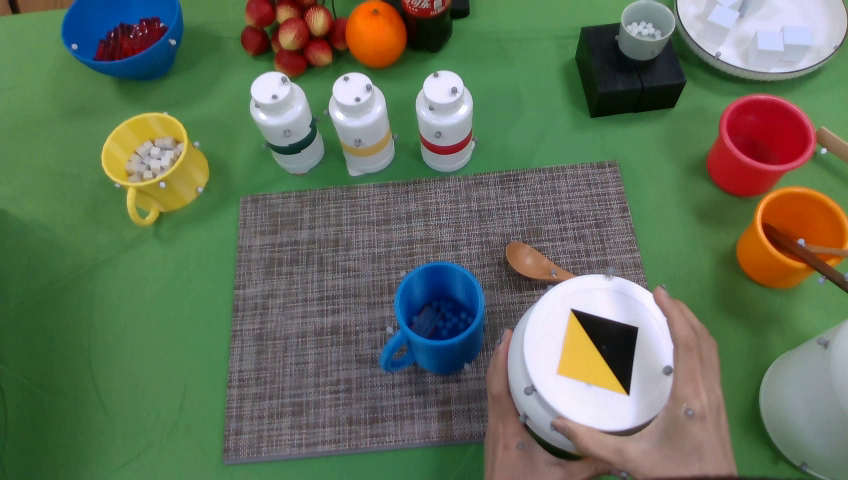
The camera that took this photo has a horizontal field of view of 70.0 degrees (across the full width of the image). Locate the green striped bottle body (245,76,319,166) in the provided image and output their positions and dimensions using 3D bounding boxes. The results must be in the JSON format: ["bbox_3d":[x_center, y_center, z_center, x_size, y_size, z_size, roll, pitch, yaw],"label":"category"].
[{"bbox_3d":[-0.163,-0.141,0.694,0.063,0.120,0.062,-1,66,3],"label":"green striped bottle body"}]

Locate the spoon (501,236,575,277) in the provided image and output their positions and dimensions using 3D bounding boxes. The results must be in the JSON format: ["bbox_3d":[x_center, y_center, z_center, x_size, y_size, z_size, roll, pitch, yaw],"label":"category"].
[{"bbox_3d":[0.170,0.045,0.641,0.193,0.022,0.041,24,47,12],"label":"spoon"}]

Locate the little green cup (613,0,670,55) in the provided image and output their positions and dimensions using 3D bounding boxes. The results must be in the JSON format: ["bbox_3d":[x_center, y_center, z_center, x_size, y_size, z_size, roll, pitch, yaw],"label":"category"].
[{"bbox_3d":[0.251,-0.249,0.707,0.061,0.039,0.061,-1,64,2],"label":"little green cup"}]

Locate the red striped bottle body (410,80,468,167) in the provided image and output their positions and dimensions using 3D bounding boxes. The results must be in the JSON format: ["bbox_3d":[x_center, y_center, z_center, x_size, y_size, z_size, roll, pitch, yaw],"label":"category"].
[{"bbox_3d":[0.018,-0.139,0.683,0.063,0.120,0.062,-1,65,3],"label":"red striped bottle body"}]

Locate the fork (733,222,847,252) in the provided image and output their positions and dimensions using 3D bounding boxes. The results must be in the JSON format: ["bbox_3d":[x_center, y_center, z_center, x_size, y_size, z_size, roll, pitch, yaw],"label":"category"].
[{"bbox_3d":[0.392,0.009,0.577,0.028,0.019,0.205,-31,23,-19],"label":"fork"}]

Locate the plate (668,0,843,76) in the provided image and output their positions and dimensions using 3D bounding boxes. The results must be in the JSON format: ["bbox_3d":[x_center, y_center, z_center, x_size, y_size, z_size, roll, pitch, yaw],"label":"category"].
[{"bbox_3d":[0.414,-0.290,0.772,0.209,0.038,0.207,-1,66,3],"label":"plate"}]

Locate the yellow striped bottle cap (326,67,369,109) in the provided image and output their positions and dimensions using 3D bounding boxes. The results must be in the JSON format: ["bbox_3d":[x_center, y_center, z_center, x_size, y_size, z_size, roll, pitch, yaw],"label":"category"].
[{"bbox_3d":[-0.081,-0.161,0.641,0.044,0.019,0.044,1,62,-1],"label":"yellow striped bottle cap"}]

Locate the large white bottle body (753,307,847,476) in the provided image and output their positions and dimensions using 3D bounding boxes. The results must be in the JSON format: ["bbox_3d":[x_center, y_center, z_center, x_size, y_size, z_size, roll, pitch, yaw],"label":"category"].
[{"bbox_3d":[0.379,0.123,0.508,0.130,0.186,0.129,-1,65,3],"label":"large white bottle body"}]

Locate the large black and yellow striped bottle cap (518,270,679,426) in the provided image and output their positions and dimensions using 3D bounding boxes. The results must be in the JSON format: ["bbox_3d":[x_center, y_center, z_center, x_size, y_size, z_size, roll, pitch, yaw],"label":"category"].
[{"bbox_3d":[0.127,0.077,0.445,0.115,0.019,0.114,-2,68,5],"label":"large black and yellow striped bottle cap"}]

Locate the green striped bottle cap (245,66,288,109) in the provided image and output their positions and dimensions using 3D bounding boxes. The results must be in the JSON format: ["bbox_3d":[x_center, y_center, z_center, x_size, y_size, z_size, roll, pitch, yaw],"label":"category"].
[{"bbox_3d":[-0.168,-0.163,0.647,0.044,0.020,0.044,0,65,0],"label":"green striped bottle cap"}]

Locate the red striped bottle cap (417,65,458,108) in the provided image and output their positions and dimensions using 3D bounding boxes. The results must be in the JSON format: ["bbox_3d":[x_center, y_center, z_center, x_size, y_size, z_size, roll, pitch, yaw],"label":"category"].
[{"bbox_3d":[0.015,-0.162,0.635,0.044,0.018,0.044,0,64,0],"label":"red striped bottle cap"}]

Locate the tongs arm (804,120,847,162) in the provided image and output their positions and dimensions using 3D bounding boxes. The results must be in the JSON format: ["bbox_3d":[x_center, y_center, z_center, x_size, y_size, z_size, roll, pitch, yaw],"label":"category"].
[{"bbox_3d":[0.588,-0.018,0.641,0.051,0.027,0.382,-39,70,-17],"label":"tongs arm"}]

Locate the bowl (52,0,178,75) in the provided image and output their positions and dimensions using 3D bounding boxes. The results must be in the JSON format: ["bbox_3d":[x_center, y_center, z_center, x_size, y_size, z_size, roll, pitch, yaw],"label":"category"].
[{"bbox_3d":[-0.384,-0.270,0.788,0.151,0.077,0.150,-1,66,3],"label":"bowl"}]

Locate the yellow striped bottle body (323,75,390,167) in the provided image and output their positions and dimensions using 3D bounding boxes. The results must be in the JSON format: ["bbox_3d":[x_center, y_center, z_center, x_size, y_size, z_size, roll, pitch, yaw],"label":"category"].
[{"bbox_3d":[-0.076,-0.140,0.688,0.063,0.121,0.062,-1,65,4],"label":"yellow striped bottle body"}]

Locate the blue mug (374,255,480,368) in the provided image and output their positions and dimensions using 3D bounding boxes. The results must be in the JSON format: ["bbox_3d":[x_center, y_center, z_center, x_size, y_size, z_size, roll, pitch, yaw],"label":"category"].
[{"bbox_3d":[0.000,0.083,0.589,0.116,0.106,0.081,-37,68,-12],"label":"blue mug"}]

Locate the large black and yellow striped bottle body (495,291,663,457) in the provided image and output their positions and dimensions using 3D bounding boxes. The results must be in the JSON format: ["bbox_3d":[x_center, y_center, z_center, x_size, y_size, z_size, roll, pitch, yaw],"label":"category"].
[{"bbox_3d":[0.131,0.112,0.523,0.131,0.185,0.129,-1,65,3],"label":"large black and yellow striped bottle body"}]

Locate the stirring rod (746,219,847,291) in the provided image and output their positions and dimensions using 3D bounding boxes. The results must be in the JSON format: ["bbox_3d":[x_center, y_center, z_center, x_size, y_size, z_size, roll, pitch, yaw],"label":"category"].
[{"bbox_3d":[0.363,0.011,0.587,0.014,0.006,0.175,-2,22,-1],"label":"stirring rod"}]

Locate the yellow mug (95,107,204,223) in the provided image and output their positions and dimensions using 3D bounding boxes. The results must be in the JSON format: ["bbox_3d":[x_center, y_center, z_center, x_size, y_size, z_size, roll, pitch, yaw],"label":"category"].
[{"bbox_3d":[-0.322,-0.082,0.707,0.100,0.064,0.130,4,67,5],"label":"yellow mug"}]
